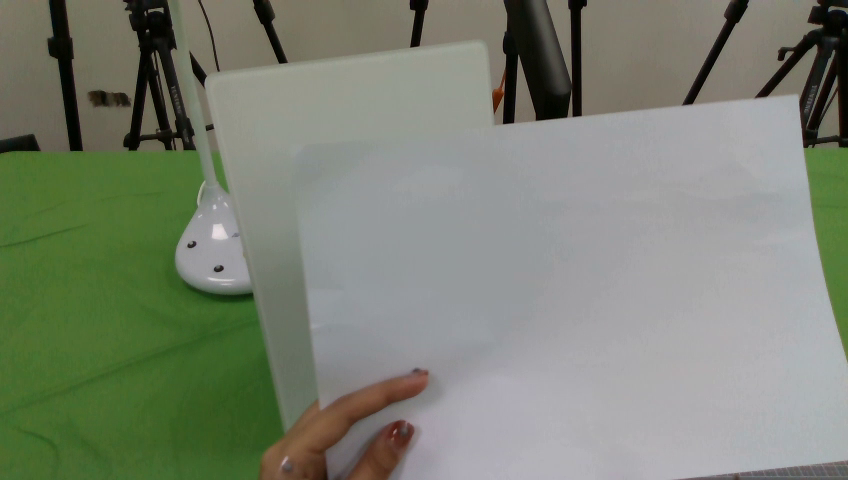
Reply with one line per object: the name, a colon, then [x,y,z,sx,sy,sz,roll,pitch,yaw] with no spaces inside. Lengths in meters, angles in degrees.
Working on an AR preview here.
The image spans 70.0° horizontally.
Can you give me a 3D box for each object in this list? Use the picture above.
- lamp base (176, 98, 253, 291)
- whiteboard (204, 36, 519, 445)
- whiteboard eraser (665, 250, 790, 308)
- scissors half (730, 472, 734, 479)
lamp base: [-0.221,-0.060,0.685,0.177,0.182,0.160,26,43,35]
whiteboard: [-0.052,-0.011,0.556,0.218,0.307,0.142,-13,18,-15]
whiteboard eraser: [0.323,0.043,0.647,0.113,0.042,0.055,-5,37,-6]
scissors half: [0.140,0.183,0.267,0.012,0.175,0.040,-4,8,24]
